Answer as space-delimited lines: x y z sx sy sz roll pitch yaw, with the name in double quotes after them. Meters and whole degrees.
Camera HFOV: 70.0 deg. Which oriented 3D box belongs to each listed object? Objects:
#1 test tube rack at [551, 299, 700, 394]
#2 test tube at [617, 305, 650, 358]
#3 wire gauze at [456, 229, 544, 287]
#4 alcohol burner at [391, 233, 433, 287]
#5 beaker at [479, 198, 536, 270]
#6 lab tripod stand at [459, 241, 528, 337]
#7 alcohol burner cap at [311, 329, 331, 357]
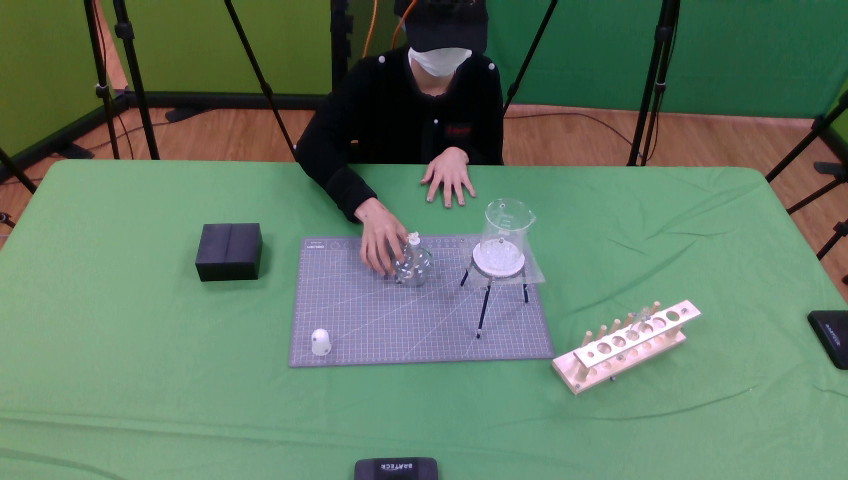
0.339 0.166 1.021 0.242 0.085 0.066 -19 50 -21 "test tube rack"
0.333 0.149 0.967 0.017 0.151 0.017 0 52 1 "test tube"
0.125 0.030 1.008 0.125 0.011 0.120 -2 48 -11 "wire gauze"
-0.021 0.029 1.102 0.078 0.119 0.077 3 48 -3 "alcohol burner"
0.131 -0.007 0.975 0.084 0.101 0.073 2 46 -3 "beaker"
0.122 0.075 1.054 0.148 0.132 0.147 3 44 -3 "lab tripod stand"
-0.173 0.168 1.005 0.034 0.048 0.033 2 46 -2 "alcohol burner cap"
